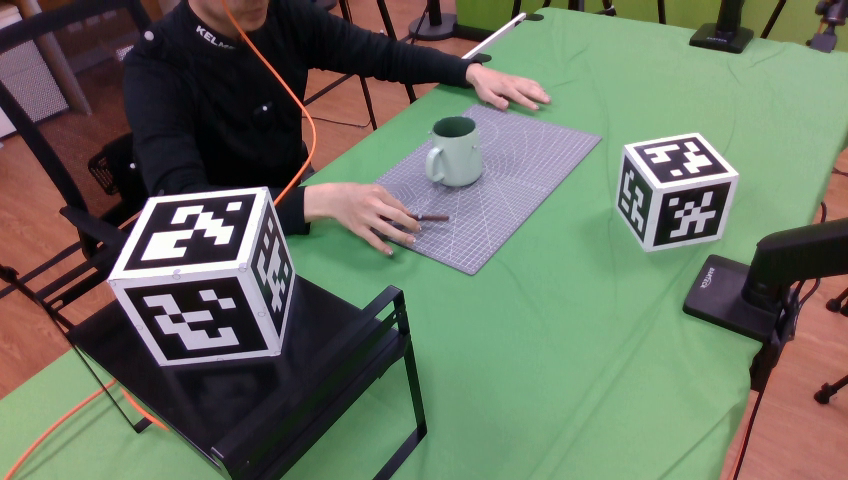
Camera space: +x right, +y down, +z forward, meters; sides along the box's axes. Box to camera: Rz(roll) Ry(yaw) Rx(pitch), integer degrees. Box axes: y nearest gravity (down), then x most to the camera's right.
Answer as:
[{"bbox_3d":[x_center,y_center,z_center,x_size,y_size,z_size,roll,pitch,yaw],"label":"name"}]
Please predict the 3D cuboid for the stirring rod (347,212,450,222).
[{"bbox_3d":[-0.044,-0.038,1.009,0.176,0.014,0.006,-1,59,12],"label":"stirring rod"}]

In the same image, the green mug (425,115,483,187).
[{"bbox_3d":[0.047,-0.148,1.068,0.092,0.105,0.125,24,50,31],"label":"green mug"}]
